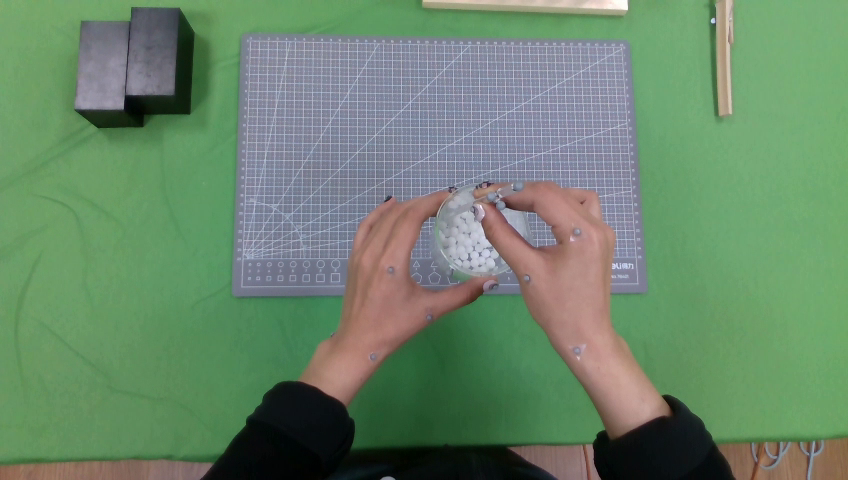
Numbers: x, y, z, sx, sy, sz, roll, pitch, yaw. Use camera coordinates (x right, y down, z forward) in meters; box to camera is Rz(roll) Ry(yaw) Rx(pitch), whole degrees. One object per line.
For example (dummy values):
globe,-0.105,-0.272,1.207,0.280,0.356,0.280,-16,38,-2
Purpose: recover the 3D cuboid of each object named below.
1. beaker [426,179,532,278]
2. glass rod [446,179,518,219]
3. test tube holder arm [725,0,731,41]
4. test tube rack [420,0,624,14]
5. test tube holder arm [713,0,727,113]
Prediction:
beaker,0.042,-0.004,0.514,0.084,0.100,0.074,19,83,-2
glass rod,0.037,-0.027,0.454,0.008,0.199,0.008,0,87,-9
test tube holder arm,0.360,-0.280,0.728,0.010,0.015,0.087,12,78,-31
test tube rack,0.118,-0.313,0.685,0.242,0.085,0.066,1,80,-3
test tube holder arm,0.351,-0.236,0.717,0.013,0.015,0.177,11,79,-31
